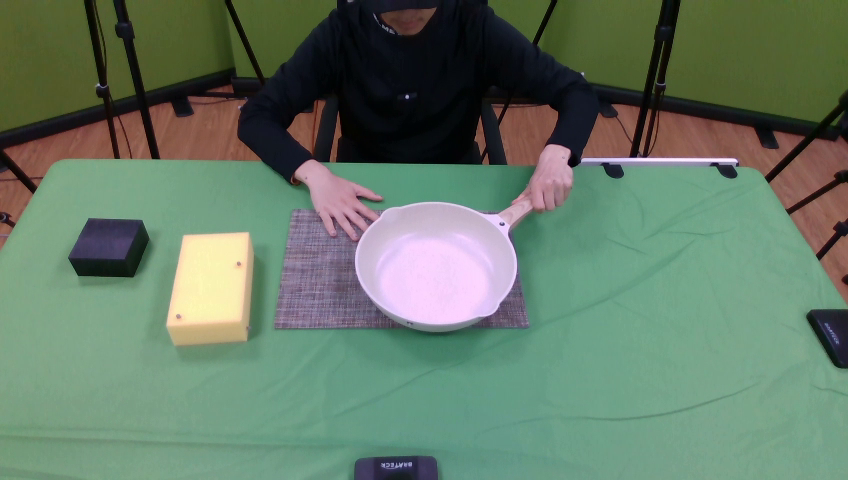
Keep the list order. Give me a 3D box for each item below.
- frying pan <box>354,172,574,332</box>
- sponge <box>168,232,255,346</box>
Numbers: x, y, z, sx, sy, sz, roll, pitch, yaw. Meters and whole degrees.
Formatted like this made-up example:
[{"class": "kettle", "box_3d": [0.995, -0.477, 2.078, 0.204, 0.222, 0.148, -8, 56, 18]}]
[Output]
[{"class": "frying pan", "box_3d": [0.104, -0.003, 1.136, 0.488, 0.103, 0.305, -33, 57, -18]}, {"class": "sponge", "box_3d": [-0.368, 0.081, 1.065, 0.118, 0.061, 0.205, -4, 46, -7]}]
